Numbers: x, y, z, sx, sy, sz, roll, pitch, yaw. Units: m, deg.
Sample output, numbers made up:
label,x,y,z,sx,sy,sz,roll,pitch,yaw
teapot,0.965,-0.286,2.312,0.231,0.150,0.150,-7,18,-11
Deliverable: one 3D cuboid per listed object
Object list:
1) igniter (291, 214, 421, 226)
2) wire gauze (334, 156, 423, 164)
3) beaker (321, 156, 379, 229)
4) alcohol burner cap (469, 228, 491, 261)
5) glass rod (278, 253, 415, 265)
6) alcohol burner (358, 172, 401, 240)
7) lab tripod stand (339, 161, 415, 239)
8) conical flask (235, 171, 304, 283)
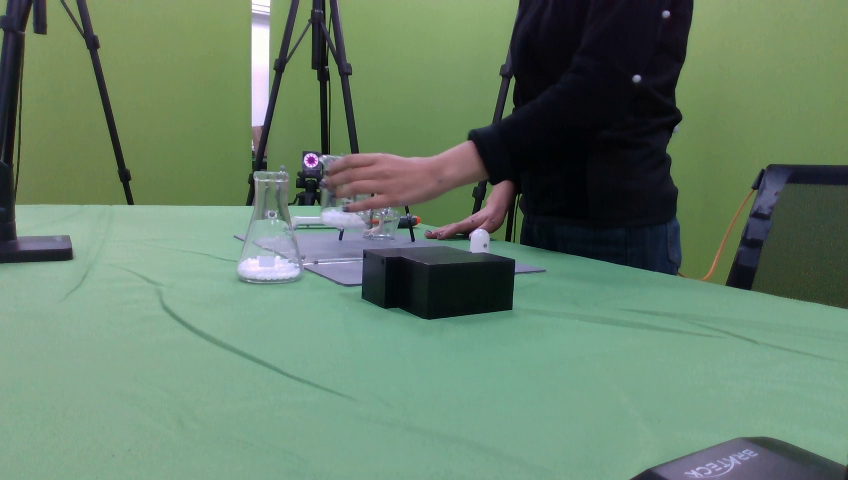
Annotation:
label,x,y,z,sx,sy,sz,roll,pitch,yaw
igniter,-0.135,-0.041,1.250,0.278,0.025,0.057,-1,-3,-28
wire gauze,-0.081,-0.137,1.051,0.122,0.011,0.124,0,8,-30
beaker,-0.110,-0.069,0.871,0.084,0.100,0.073,3,8,-24
alcohol burner cap,0.082,0.006,0.878,0.034,0.048,0.034,3,6,0
glass rod,-0.097,0.024,0.805,0.201,0.008,0.008,-2,8,-33
alcohol burner,-0.077,-0.061,1.065,0.078,0.119,0.078,4,9,0
lab tripod stand,-0.082,-0.070,1.059,0.148,0.131,0.148,4,6,0
conical flask,-0.172,-0.016,0.677,0.075,0.122,0.075,2,7,0
